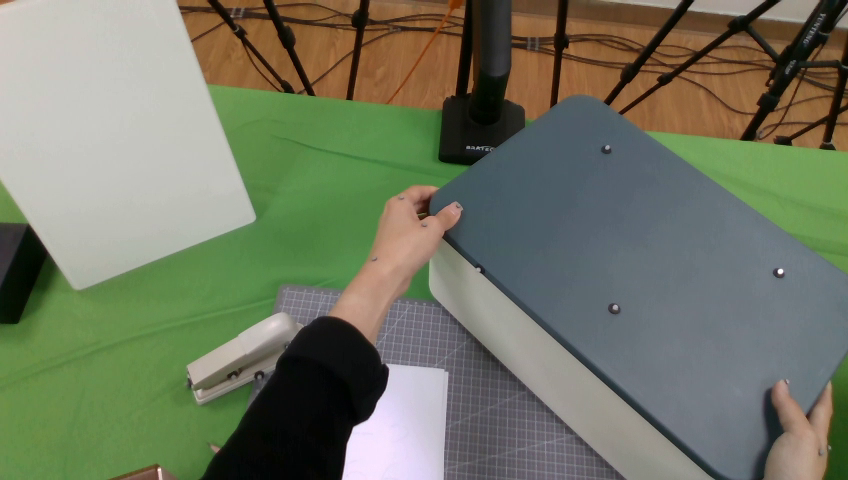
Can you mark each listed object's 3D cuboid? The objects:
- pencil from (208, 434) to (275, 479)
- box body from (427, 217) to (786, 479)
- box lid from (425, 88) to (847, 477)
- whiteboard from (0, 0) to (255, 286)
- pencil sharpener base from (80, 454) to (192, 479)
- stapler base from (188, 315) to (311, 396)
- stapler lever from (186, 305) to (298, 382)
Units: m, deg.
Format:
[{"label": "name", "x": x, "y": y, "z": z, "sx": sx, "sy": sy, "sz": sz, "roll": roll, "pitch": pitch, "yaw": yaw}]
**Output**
[{"label": "pencil", "x": -0.136, "y": 0.240, "z": 0.581, "sx": 0.193, "sy": 0.012, "sz": 0.012, "roll": 29, "pitch": 60, "yaw": 15}, {"label": "box body", "x": 0.204, "y": 0.048, "z": 0.641, "sx": 0.254, "sy": 0.161, "sz": 0.361, "roll": -38, "pitch": 68, "yaw": -25}, {"label": "box lid", "x": 0.207, "y": 0.006, "z": 0.579, "sx": 0.263, "sy": 0.015, "sz": 0.369, "roll": -38, "pitch": 69, "yaw": -25}, {"label": "whiteboard", "x": -0.351, "y": -0.141, "z": 0.669, "sx": 0.217, "sy": 0.308, "sz": 0.142, "roll": -24, "pitch": 43, "yaw": -18}, {"label": "pencil sharpener base", "x": -0.245, "y": 0.236, "z": 0.519, "sx": 0.077, "sy": 0.108, "sz": 0.061, "roll": -15, "pitch": 60, "yaw": -13}, {"label": "stapler base", "x": -0.187, "y": 0.117, "z": 0.647, "sx": 0.131, "sy": 0.024, "sz": 0.041, "roll": -25, "pitch": 59, "yaw": -15}, {"label": "stapler lever", "x": -0.188, "y": 0.105, "z": 0.626, "sx": 0.118, "sy": 0.040, "sz": 0.026, "roll": -25, "pitch": 58, "yaw": -16}]
